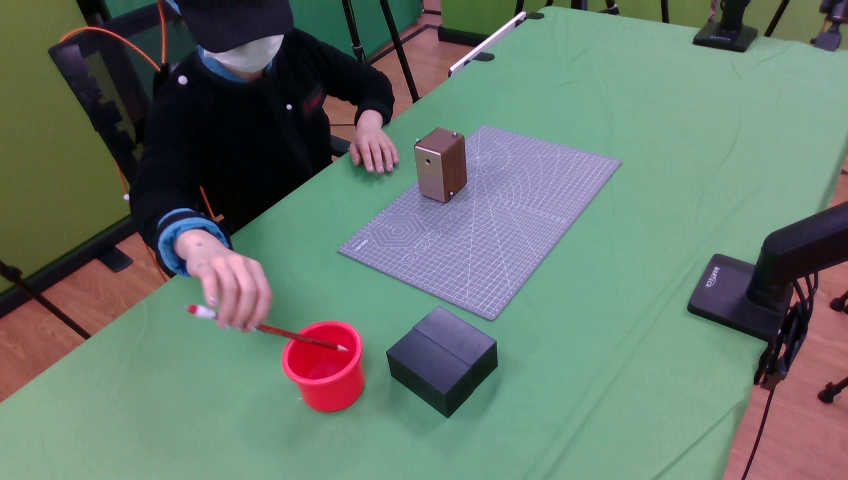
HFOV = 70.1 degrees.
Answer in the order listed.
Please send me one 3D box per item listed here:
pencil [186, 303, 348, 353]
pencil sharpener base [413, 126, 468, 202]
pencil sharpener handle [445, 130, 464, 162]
[{"bbox_3d":[-0.174,0.105,0.693,0.195,0.012,0.012,22,31,-27],"label":"pencil"},{"bbox_3d":[0.032,-0.132,1.047,0.061,0.107,0.077,22,48,30],"label":"pencil sharpener base"},{"bbox_3d":[0.059,-0.171,1.070,0.036,0.068,0.031,26,50,25],"label":"pencil sharpener handle"}]
